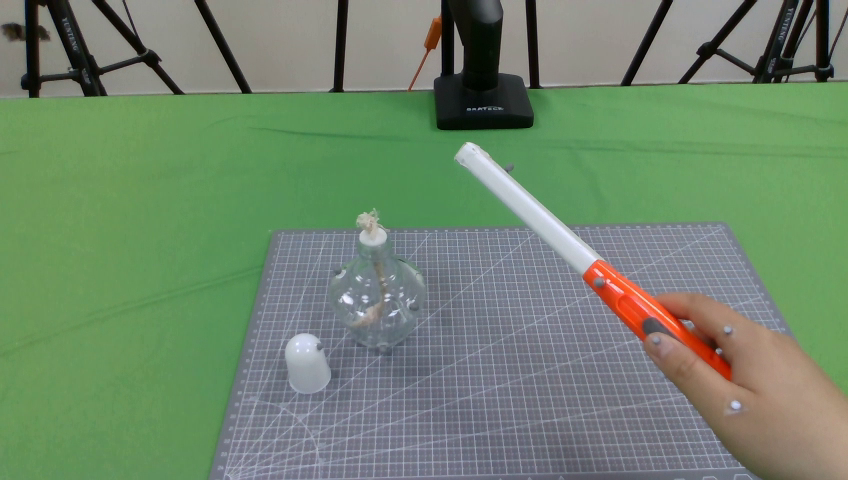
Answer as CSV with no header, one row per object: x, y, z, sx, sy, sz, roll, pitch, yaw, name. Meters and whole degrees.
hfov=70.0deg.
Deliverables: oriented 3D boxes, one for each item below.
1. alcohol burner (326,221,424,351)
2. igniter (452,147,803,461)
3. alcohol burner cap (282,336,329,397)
-0.039,0.031,0.470,0.078,0.120,0.077,1,43,-1,alcohol burner
0.117,0.029,0.386,0.274,0.025,0.057,46,17,26,igniter
-0.090,0.092,0.455,0.034,0.048,0.033,0,42,0,alcohol burner cap
